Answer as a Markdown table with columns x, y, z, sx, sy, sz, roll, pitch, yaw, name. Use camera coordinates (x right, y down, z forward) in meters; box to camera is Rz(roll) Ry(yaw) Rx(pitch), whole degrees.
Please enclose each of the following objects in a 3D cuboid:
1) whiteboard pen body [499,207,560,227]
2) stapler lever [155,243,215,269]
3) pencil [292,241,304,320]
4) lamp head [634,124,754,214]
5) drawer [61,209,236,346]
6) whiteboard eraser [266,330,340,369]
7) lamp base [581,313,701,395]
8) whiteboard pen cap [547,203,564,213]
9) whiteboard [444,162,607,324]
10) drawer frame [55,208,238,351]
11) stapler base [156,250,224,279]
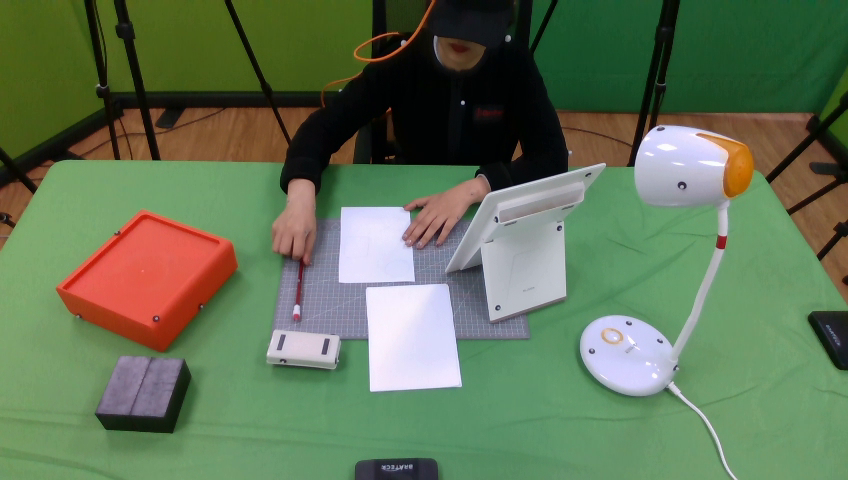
| x | y | z | sx | sy | sz | roll | pitch | yaw | name |
| --- | --- | --- | --- | --- | --- | --- | --- | --- | --- |
| 0.222 | -0.051 | 1.259 | 0.141 | 0.017 | 0.017 | -15 | 49 | -16 | whiteboard pen body |
| -0.433 | 0.023 | 1.097 | 0.118 | 0.040 | 0.026 | 14 | 39 | 14 | stapler lever |
| -0.230 | 0.069 | 1.113 | 0.012 | 0.012 | 0.193 | -1 | 45 | -5 | pencil |
| 0.351 | -0.089 | 0.776 | 0.112 | 0.113 | 0.122 | -30 | 30 | -28 | lamp head |
| -0.474 | 0.061 | 1.062 | 0.194 | 0.073 | 0.211 | 19 | 48 | 13 | drawer |
| -0.198 | 0.181 | 0.994 | 0.113 | 0.042 | 0.055 | 5 | 45 | 1 | whiteboard eraser |
| 0.361 | 0.144 | 0.973 | 0.178 | 0.181 | 0.160 | 34 | 53 | 23 | lamp base |
| 0.277 | -0.066 | 1.275 | 0.033 | 0.018 | 0.018 | -18 | 50 | -15 | whiteboard pen cap |
| 0.186 | 0.025 | 1.029 | 0.217 | 0.306 | 0.143 | -15 | 68 | -18 | whiteboard |
| -0.474 | 0.062 | 1.059 | 0.201 | 0.083 | 0.213 | 18 | 48 | 12 | drawer frame |
| -0.431 | 0.040 | 1.110 | 0.130 | 0.024 | 0.041 | 11 | 38 | 17 | stapler base |
